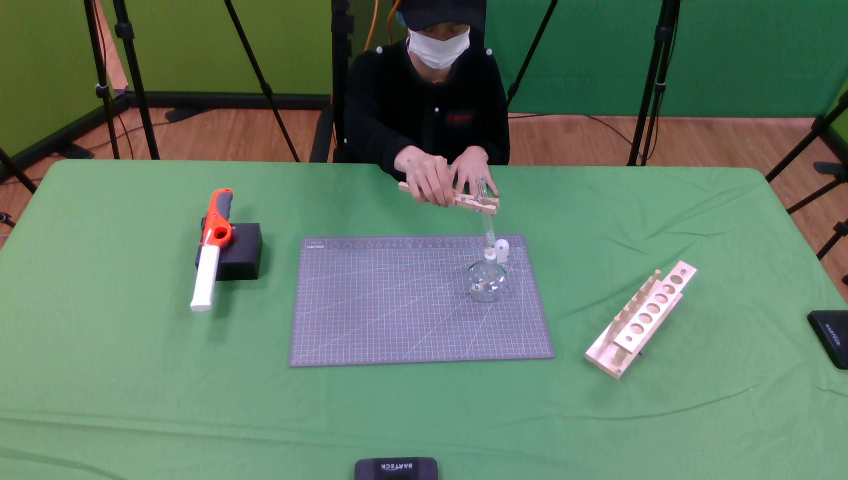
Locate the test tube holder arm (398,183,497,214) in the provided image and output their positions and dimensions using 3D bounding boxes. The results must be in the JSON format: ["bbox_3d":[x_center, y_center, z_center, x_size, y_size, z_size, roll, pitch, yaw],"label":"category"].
[{"bbox_3d":[0.035,-0.069,0.993,0.178,0.015,0.013,15,50,23],"label":"test tube holder arm"}]

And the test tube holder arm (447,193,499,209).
[{"bbox_3d":[0.078,-0.064,0.979,0.087,0.015,0.010,8,48,18],"label":"test tube holder arm"}]

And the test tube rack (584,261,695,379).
[{"bbox_3d":[0.380,0.127,1.062,0.066,0.085,0.242,34,53,26],"label":"test tube rack"}]

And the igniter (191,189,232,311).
[{"bbox_3d":[-0.381,0.008,1.092,0.057,0.025,0.274,-1,50,-7],"label":"igniter"}]

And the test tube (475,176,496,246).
[{"bbox_3d":[0.101,-0.043,0.983,0.017,0.151,0.017,-8,46,8],"label":"test tube"}]

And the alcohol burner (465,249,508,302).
[{"bbox_3d":[0.114,0.057,1.085,0.078,0.120,0.077,2,48,-2],"label":"alcohol burner"}]

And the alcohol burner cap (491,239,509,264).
[{"bbox_3d":[0.150,0.020,1.174,0.034,0.048,0.033,2,46,-2],"label":"alcohol burner cap"}]
